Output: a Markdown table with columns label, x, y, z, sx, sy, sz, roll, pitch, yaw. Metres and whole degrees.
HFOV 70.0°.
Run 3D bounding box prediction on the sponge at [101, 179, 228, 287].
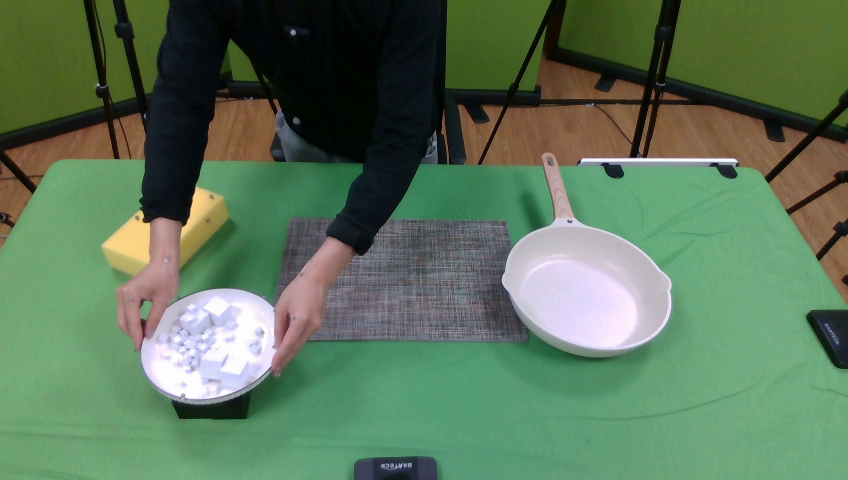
| label | x | y | z | sx | sy | sz | roll | pitch | yaw |
| --- | --- | --- | --- | --- | --- | --- | --- | --- | --- |
| sponge | -0.486 | -0.018 | 1.151 | 0.118 | 0.061 | 0.206 | 18 | 47 | 12 |

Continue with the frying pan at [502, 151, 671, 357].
| label | x | y | z | sx | sy | sz | roll | pitch | yaw |
| --- | --- | --- | --- | --- | --- | --- | --- | --- | --- |
| frying pan | 0.281 | 0.008 | 1.154 | 0.307 | 0.103 | 0.484 | 1 | 54 | -6 |

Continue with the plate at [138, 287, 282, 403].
| label | x | y | z | sx | sy | sz | roll | pitch | yaw |
| --- | --- | --- | --- | --- | --- | --- | --- | --- | --- |
| plate | -0.324 | 0.163 | 0.931 | 0.208 | 0.039 | 0.206 | 4 | 45 | -4 |
